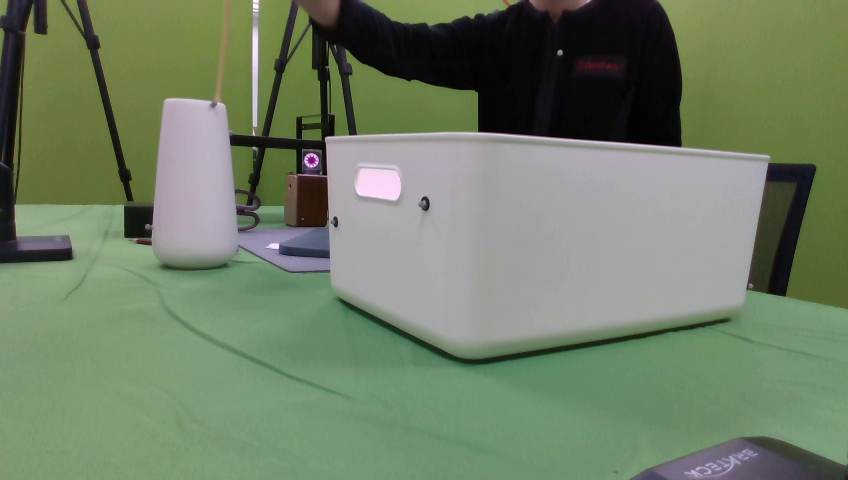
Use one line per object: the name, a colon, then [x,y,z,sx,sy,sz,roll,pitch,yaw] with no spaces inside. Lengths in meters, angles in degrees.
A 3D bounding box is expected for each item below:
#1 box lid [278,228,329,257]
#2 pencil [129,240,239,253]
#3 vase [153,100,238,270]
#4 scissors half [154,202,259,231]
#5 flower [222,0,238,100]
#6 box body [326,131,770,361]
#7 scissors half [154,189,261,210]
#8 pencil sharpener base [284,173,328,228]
box lid: [-0.019,0.012,0.950,0.371,0.015,0.263,4,7,4]
pencil: [-0.350,0.008,0.873,0.193,0.012,0.012,3,7,19]
vase: [-0.278,-0.066,0.736,0.098,0.200,0.098,2,9,0]
scissors half: [-0.375,-0.046,1.051,0.176,0.040,0.013,13,-1,-28]
flower: [-0.212,-0.345,0.700,0.038,0.361,0.044,4,10,-29]
box body: [0.112,-0.010,0.583,0.366,0.160,0.253,-2,9,-33]
scissors half: [-0.373,-0.066,1.049,0.176,0.040,0.012,-6,13,-27]
pencil sharpener base: [-0.239,-0.081,1.231,0.077,0.107,0.061,-2,8,-36]
